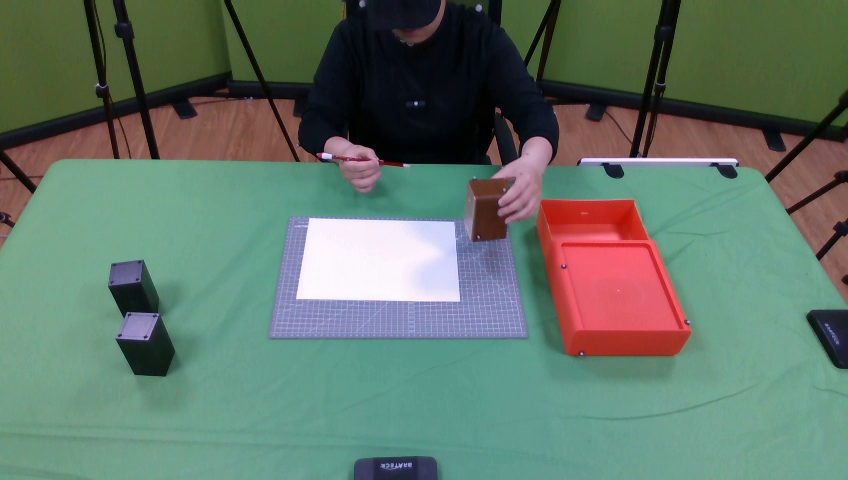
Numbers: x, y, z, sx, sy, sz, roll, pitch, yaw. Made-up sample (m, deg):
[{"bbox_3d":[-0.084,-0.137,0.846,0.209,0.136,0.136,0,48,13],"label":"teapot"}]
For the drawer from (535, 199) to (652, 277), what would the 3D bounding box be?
[{"bbox_3d":[0.332,0.014,1.168,0.195,0.073,0.210,0,46,-5],"label":"drawer"}]

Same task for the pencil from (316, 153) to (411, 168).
[{"bbox_3d":[-0.123,-0.159,1.229,0.194,0.012,0.012,8,45,2],"label":"pencil"}]

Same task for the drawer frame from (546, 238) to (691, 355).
[{"bbox_3d":[0.338,0.097,1.086,0.202,0.083,0.212,0,46,-4],"label":"drawer frame"}]

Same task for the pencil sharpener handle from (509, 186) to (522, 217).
[{"bbox_3d":[0.169,-0.070,1.120,0.031,0.068,0.035,-5,44,-9],"label":"pencil sharpener handle"}]

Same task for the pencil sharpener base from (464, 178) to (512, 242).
[{"bbox_3d":[0.119,-0.055,1.119,0.077,0.107,0.061,-5,39,-9],"label":"pencil sharpener base"}]
